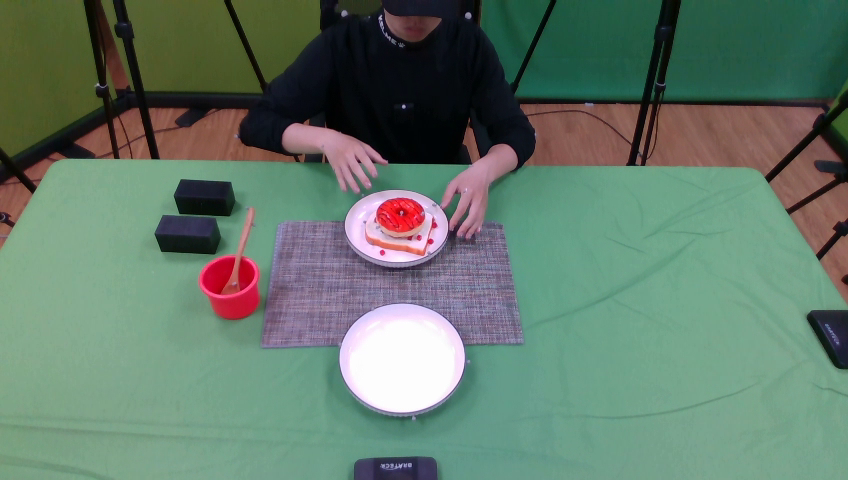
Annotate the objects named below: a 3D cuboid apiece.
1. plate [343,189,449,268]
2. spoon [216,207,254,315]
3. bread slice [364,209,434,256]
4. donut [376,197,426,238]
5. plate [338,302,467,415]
[{"bbox_3d":[-0.055,-0.019,1.195,0.209,0.038,0.208,3,46,-2],"label":"plate"},{"bbox_3d":[-0.322,0.036,1.053,0.041,0.021,0.193,14,90,11],"label":"spoon"},{"bbox_3d":[-0.053,-0.020,1.198,0.131,0.019,0.104,10,46,4],"label":"bread slice"},{"bbox_3d":[-0.045,-0.046,1.174,0.099,0.048,0.098,3,45,-3],"label":"donut"},{"bbox_3d":[-0.035,0.194,0.992,0.208,0.039,0.206,2,48,-2],"label":"plate"}]
